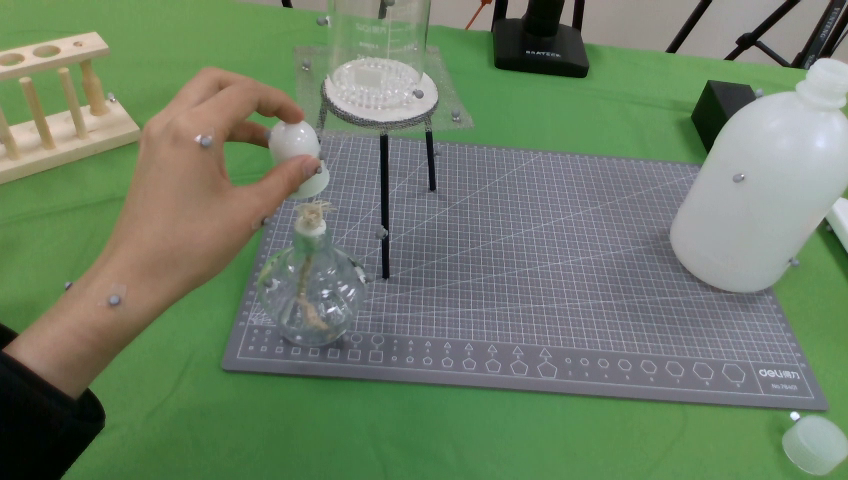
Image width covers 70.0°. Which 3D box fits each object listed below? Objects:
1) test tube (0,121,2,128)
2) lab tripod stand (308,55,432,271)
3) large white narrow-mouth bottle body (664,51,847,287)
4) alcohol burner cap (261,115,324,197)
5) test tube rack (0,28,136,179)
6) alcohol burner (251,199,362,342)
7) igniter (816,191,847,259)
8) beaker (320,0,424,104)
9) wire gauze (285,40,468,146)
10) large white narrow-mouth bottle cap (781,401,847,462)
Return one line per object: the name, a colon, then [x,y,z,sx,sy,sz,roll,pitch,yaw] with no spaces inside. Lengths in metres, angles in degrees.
test tube: [-0.384,-0.154,0.504,0.017,0.151,0.017,5,41,-4]
lab tripod stand: [-0.042,-0.069,0.501,0.148,0.132,0.147,5,46,-5]
large white narrow-mouth bottle body: [0.275,-0.057,0.491,0.102,0.196,0.101,3,45,-3]
alcohol burner cap: [-0.079,-0.051,0.357,0.034,0.048,0.033,0,55,1]
test tube rack: [-0.392,-0.102,0.520,0.242,0.086,0.066,-28,55,-30]
alcohol burner: [-0.082,0.017,0.424,0.078,0.120,0.077,6,44,-5]
igniter: [0.405,0.052,0.525,0.057,0.025,0.274,13,44,-10]
beaker: [-0.039,-0.154,0.423,0.084,0.101,0.073,0,47,-8]
wire gauze: [-0.040,-0.117,0.456,0.122,0.011,0.123,-7,51,-12]
large white narrow-mouth bottle cap: [0.276,0.136,0.429,0.038,0.024,0.037,4,45,-3]
